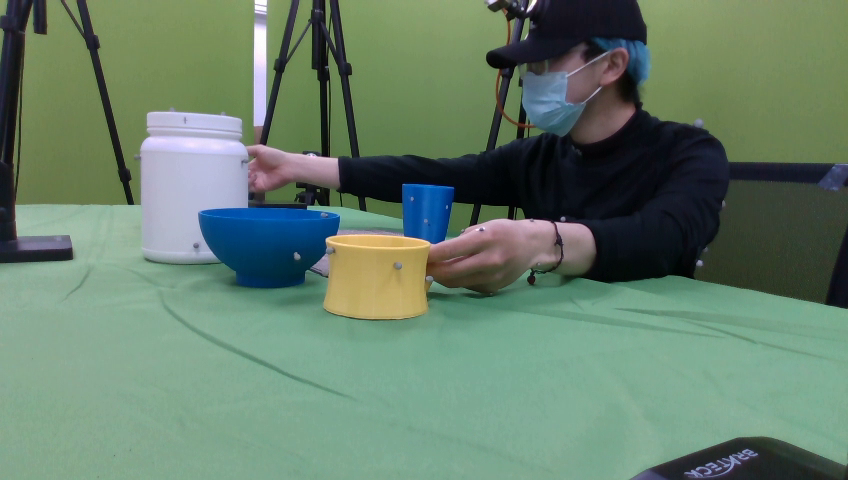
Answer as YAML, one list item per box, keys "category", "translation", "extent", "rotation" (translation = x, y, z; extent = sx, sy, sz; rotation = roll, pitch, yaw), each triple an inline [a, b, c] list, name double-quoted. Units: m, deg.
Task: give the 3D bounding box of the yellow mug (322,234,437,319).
- category: "yellow mug"
  translation: [-0.034, 0.031, 0.581]
  extent: [0.099, 0.064, 0.131]
  rotation: [9, 8, 43]

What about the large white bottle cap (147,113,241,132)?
- category: "large white bottle cap"
  translation: [-0.297, -0.151, 0.786]
  extent: [0.115, 0.018, 0.115]
  rotation: [2, 7, 0]

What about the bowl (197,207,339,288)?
- category: "bowl"
  translation: [-0.171, 0.008, 0.671]
  extent: [0.151, 0.077, 0.151]
  rotation: [2, 7, 0]

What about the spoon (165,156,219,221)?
- category: "spoon"
  translation: [-0.451, -0.104, 1.193]
  extent: [0.041, 0.022, 0.193]
  rotation: [4, 51, 18]

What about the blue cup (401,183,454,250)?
- category: "blue cup"
  translation: [0.003, -0.038, 0.966]
  extent: [0.093, 0.100, 0.092]
  rotation: [4, 8, 0]

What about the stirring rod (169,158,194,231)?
- category: "stirring rod"
  translation: [-0.424, -0.082, 1.060]
  extent: [0.014, 0.006, 0.175]
  rotation: [2, 50, -10]

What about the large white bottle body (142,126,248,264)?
- category: "large white bottle body"
  translation: [-0.300, -0.067, 0.797]
  extent: [0.131, 0.184, 0.130]
  rotation: [2, 7, 0]
